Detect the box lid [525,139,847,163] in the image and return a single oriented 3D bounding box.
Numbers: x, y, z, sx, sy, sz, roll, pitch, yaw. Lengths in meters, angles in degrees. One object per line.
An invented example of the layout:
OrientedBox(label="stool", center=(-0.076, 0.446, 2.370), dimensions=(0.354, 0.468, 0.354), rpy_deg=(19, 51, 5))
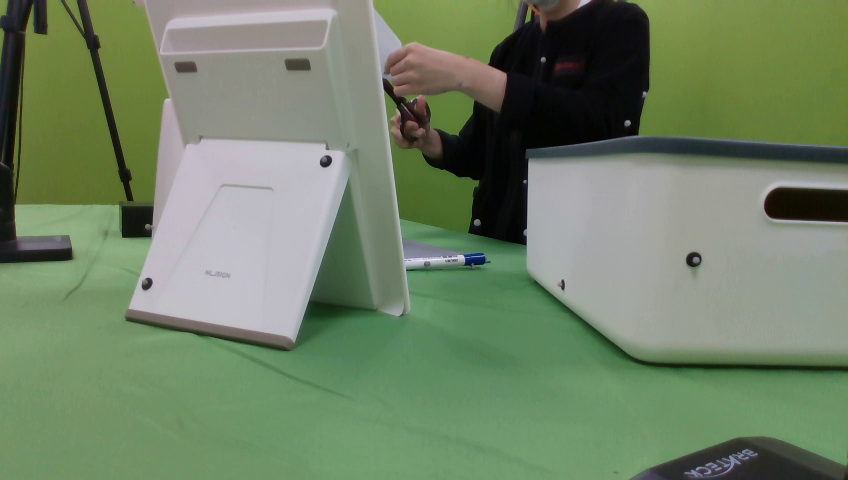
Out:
OrientedBox(label="box lid", center=(0.261, -0.078, 0.580), dimensions=(0.264, 0.015, 0.371), rpy_deg=(2, 7, -4))

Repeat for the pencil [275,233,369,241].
OrientedBox(label="pencil", center=(-0.169, -0.006, 1.036), dimensions=(0.195, 0.012, 0.012), rpy_deg=(-2, 9, -45))

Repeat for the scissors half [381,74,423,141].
OrientedBox(label="scissors half", center=(-0.047, -0.236, 1.069), dimensions=(0.012, 0.040, 0.176), rpy_deg=(21, -23, 39))

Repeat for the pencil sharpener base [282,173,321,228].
OrientedBox(label="pencil sharpener base", center=(-0.247, -0.080, 1.212), dimensions=(0.061, 0.107, 0.076), rpy_deg=(-2, 5, -28))

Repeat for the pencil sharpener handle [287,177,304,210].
OrientedBox(label="pencil sharpener handle", center=(-0.269, -0.096, 1.257), dimensions=(0.036, 0.067, 0.030), rpy_deg=(-8, 8, -27))

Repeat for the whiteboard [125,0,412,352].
OrientedBox(label="whiteboard", center=(-0.151, -0.049, 0.472), dimensions=(0.216, 0.305, 0.144), rpy_deg=(6, 27, 24))

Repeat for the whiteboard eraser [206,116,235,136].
OrientedBox(label="whiteboard eraser", center=(-0.450, -0.252, 1.335), dimensions=(0.056, 0.042, 0.112), rpy_deg=(1, 7, -22))

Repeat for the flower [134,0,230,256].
OrientedBox(label="flower", center=(-0.282, -0.147, 0.713), dimensions=(0.038, 0.362, 0.044), rpy_deg=(-23, 24, -31))

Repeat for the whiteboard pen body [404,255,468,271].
OrientedBox(label="whiteboard pen body", center=(0.013, 0.030, 0.792), dimensions=(0.141, 0.017, 0.017), rpy_deg=(-3, 9, -24))

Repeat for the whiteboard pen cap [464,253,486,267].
OrientedBox(label="whiteboard pen cap", center=(0.066, 0.027, 0.818), dimensions=(0.033, 0.018, 0.018), rpy_deg=(-5, 10, -24))

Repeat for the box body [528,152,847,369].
OrientedBox(label="box body", center=(0.257, -0.005, 0.591), dimensions=(0.254, 0.160, 0.363), rpy_deg=(2, 7, -4))

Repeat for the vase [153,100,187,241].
OrientedBox(label="vase", center=(-0.278, -0.066, 0.736), dimensions=(0.098, 0.200, 0.098), rpy_deg=(2, 9, 0))

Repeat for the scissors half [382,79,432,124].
OrientedBox(label="scissors half", center=(-0.037, -0.255, 1.073), dimensions=(0.013, 0.040, 0.176), rpy_deg=(15, -5, 37))
